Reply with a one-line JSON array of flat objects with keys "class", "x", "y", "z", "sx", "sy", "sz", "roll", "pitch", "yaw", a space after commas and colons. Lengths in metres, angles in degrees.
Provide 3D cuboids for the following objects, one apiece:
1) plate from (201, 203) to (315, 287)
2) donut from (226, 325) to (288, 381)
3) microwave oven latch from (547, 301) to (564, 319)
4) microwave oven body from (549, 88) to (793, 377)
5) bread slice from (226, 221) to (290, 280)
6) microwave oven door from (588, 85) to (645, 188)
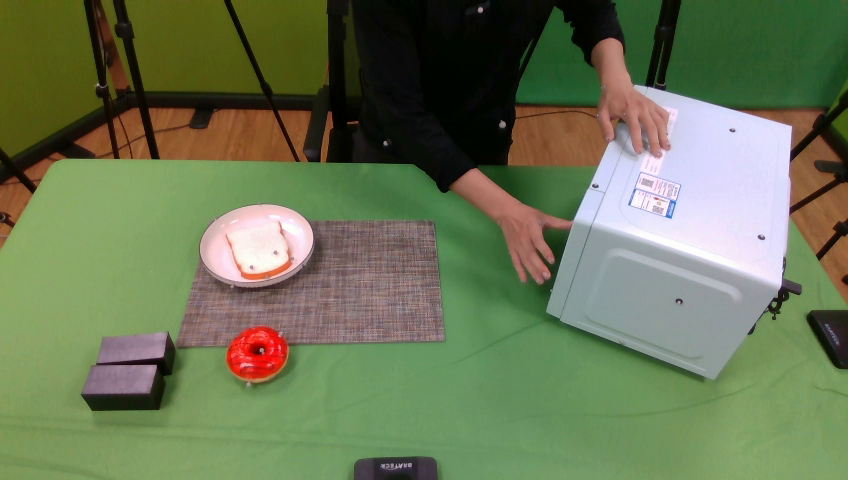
[{"class": "plate", "x": -0.310, "y": 0.013, "z": 1.145, "sx": 0.208, "sy": 0.039, "sz": 0.206, "roll": 2, "pitch": 46, "yaw": -2}, {"class": "donut", "x": -0.270, "y": 0.182, "z": 0.984, "sx": 0.099, "sy": 0.048, "sz": 0.098, "roll": 5, "pitch": 49, "yaw": -5}, {"class": "microwave oven latch", "x": 0.243, "y": 0.102, "z": 1.081, "sx": 0.030, "sy": 0.029, "sz": 0.079, "roll": 22, "pitch": 48, "yaw": 18}, {"class": "microwave oven body", "x": 0.457, "y": -0.028, "z": 1.088, "sx": 0.325, "sy": 0.261, "sz": 0.440, "roll": 20, "pitch": 47, "yaw": 16}, {"class": "bread slice", "x": -0.308, "y": 0.019, "z": 1.141, "sx": 0.105, "sy": 0.019, "sz": 0.130, "roll": -17, "pitch": 49, "yaw": -18}, {"class": "microwave oven door", "x": 0.342, "y": -0.107, "z": 1.149, "sx": 0.039, "sy": 0.245, "sz": 0.354, "roll": 20, "pitch": 48, "yaw": 15}]
